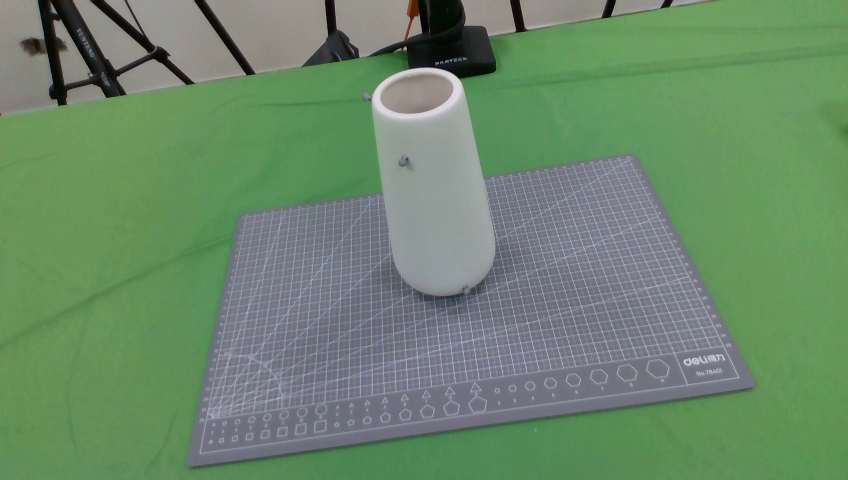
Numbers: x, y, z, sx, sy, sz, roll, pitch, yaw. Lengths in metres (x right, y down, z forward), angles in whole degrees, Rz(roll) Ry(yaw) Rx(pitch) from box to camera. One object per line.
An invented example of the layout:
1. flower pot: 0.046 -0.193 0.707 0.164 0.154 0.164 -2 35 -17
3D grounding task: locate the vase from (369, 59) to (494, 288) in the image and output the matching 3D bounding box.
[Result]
1. vase: 0.007 -0.050 0.520 0.098 0.202 0.097 -6 45 6
